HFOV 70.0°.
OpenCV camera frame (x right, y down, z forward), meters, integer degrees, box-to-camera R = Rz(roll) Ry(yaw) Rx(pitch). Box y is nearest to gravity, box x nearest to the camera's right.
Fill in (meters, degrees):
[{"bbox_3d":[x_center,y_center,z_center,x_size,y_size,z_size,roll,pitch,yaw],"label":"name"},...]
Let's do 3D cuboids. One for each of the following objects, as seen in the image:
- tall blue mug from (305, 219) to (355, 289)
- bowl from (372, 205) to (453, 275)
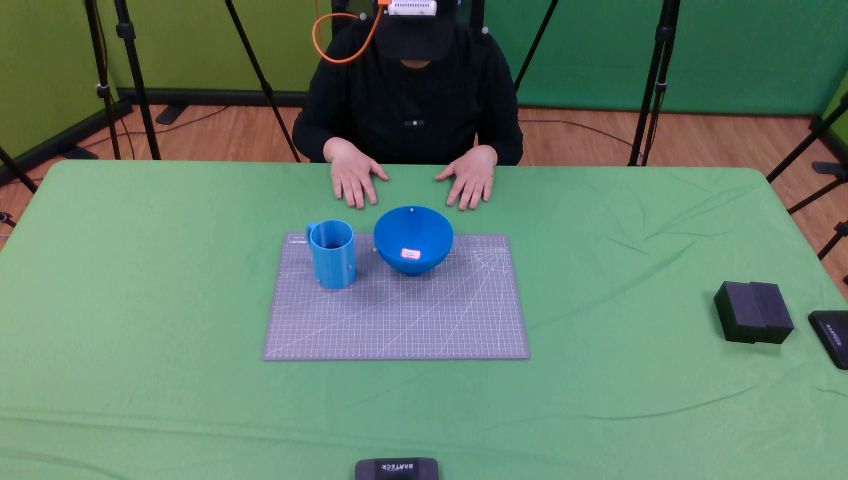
[{"bbox_3d":[-0.180,0.023,1.099,0.107,0.108,0.077,15,48,10],"label":"tall blue mug"},{"bbox_3d":[-0.022,0.013,1.143,0.151,0.077,0.150,2,46,-2],"label":"bowl"}]
